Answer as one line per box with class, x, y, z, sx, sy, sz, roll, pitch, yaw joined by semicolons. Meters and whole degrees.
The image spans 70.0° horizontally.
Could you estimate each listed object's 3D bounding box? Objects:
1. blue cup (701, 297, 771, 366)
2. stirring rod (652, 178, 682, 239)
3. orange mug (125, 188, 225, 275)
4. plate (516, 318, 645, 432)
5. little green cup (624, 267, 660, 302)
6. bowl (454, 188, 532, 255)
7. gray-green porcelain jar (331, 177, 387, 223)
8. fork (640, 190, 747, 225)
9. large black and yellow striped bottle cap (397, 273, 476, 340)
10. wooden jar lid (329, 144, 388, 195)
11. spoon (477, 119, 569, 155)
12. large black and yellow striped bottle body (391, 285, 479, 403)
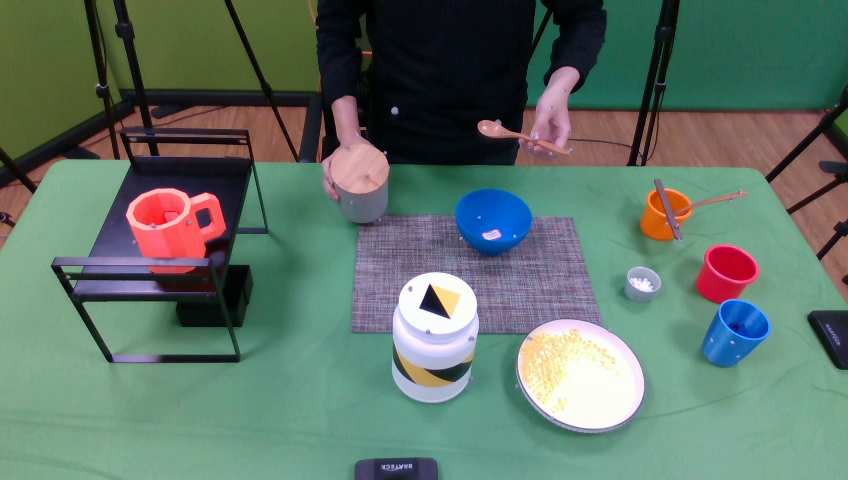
blue cup;0.519;0.162;1.025;0.093;0.101;0.092;3;45;-3
stirring rod;0.481;-0.065;1.204;0.014;0.006;0.175;2;46;-1
orange mug;-0.357;-0.019;0.884;0.126;0.101;0.083;-29;54;-23
plate;0.253;0.221;0.992;0.209;0.038;0.208;2;46;-2
little green cup;0.406;0.084;1.135;0.061;0.039;0.061;3;46;-3
bowl;0.131;-0.025;1.187;0.151;0.077;0.150;2;46;-2
gray-green porcelain jar;-0.125;-0.100;1.179;0.106;0.127;0.105;2;63;-3
fork;0.533;-0.065;1.211;0.207;0.019;0.028;-22;28;38
large black and yellow striped bottle cap;0.018;0.094;0.878;0.115;0.019;0.114;3;46;-3
wooden jar lid;-0.121;-0.129;1.124;0.108;0.021;0.108;2;64;-4
spoon;0.168;-0.177;1.048;0.041;0.022;0.192;-35;41;-29
large black and yellow striped bottle body;0.015;0.153;0.938;0.131;0.185;0.130;2;46;-2
